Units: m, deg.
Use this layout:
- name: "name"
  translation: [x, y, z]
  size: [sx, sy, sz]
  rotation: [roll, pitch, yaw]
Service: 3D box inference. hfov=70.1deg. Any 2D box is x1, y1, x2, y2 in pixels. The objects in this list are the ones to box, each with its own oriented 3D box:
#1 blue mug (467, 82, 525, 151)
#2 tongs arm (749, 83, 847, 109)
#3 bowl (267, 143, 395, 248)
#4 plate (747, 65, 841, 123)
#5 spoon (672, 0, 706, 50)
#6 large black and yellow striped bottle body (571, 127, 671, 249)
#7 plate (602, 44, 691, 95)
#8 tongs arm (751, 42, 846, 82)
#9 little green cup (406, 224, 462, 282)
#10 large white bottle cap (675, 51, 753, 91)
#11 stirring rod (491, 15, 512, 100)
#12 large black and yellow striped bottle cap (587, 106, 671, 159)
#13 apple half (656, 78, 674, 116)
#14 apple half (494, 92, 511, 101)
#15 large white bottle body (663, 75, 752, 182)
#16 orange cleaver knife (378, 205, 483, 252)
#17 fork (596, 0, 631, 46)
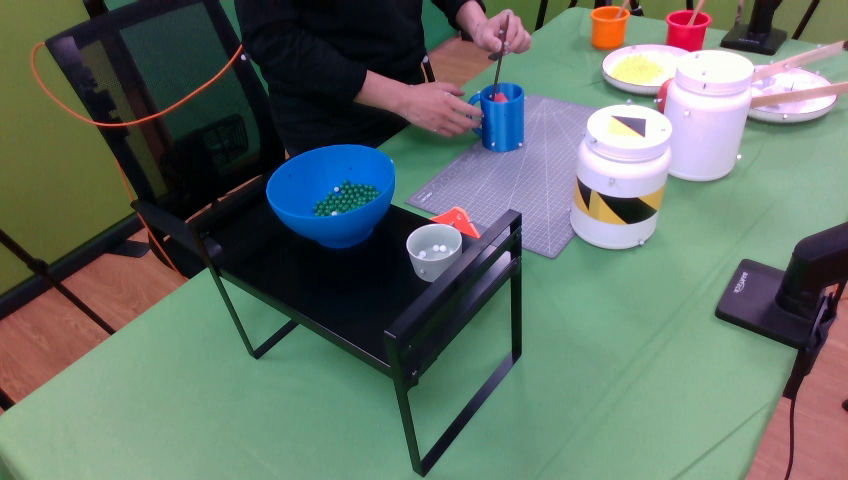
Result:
- name: "blue mug"
  translation: [0.138, -0.241, 1.169]
  size: [0.116, 0.106, 0.082]
  rotation: [11, 44, 21]
- name: "tongs arm"
  translation: [0.734, -0.280, 1.133]
  size: [0.388, 0.028, 0.028]
  rotation: [-9, 47, -5]
- name: "bowl"
  translation: [-0.104, -0.043, 0.726]
  size: [0.151, 0.077, 0.150]
  rotation: [-4, 41, 4]
- name: "plate"
  translation: [0.695, -0.282, 1.189]
  size: [0.207, 0.039, 0.206]
  rotation: [-4, 40, 4]
- name: "spoon"
  translation: [0.629, -0.520, 1.394]
  size: [0.041, 0.022, 0.193]
  rotation: [30, 97, 34]
- name: "large black and yellow striped bottle body"
  translation: [0.296, -0.093, 0.915]
  size: [0.131, 0.185, 0.130]
  rotation: [-3, 42, 3]
- name: "plate"
  translation: [0.495, -0.367, 1.317]
  size: [0.209, 0.038, 0.208]
  rotation: [-4, 40, 4]
- name: "tongs arm"
  translation: [0.708, -0.331, 1.193]
  size: [0.386, 0.026, 0.050]
  rotation: [-18, 45, -16]
- name: "little green cup"
  translation: [0.012, 0.015, 0.668]
  size: [0.061, 0.039, 0.061]
  rotation: [-4, 40, 4]
- name: "large white bottle cap"
  translation: [0.463, -0.271, 0.967]
  size: [0.115, 0.018, 0.114]
  rotation: [-4, 40, 4]
- name: "stirring rod"
  translation: [0.137, -0.317, 1.083]
  size: [0.006, 0.176, 0.014]
  rotation: [4, 43, -5]
- name: "large black and yellow striped bottle cap"
  translation: [0.290, -0.154, 0.858]
  size: [0.115, 0.019, 0.114]
  rotation: [-4, 42, 4]
- name: "apple half"
  translation: [0.488, -0.281, 1.192]
  size: [0.053, 0.075, 0.081]
  rotation: [24, 54, 37]
- name: "apple half"
  translation: [0.144, -0.240, 1.154]
  size: [0.033, 0.081, 0.080]
  rotation: [-13, 40, -21]
- name: "large white bottle body"
  translation: [0.472, -0.207, 1.022]
  size: [0.130, 0.185, 0.130]
  rotation: [-4, 41, 4]
- name: "orange cleaver knife"
  translation: [0.005, -0.010, 0.944]
  size: [0.210, 0.077, 0.012]
  rotation: [-5, 23, 47]
- name: "fork"
  translation: [0.481, -0.555, 1.452]
  size: [0.028, 0.019, 0.207]
  rotation: [41, 104, 39]
